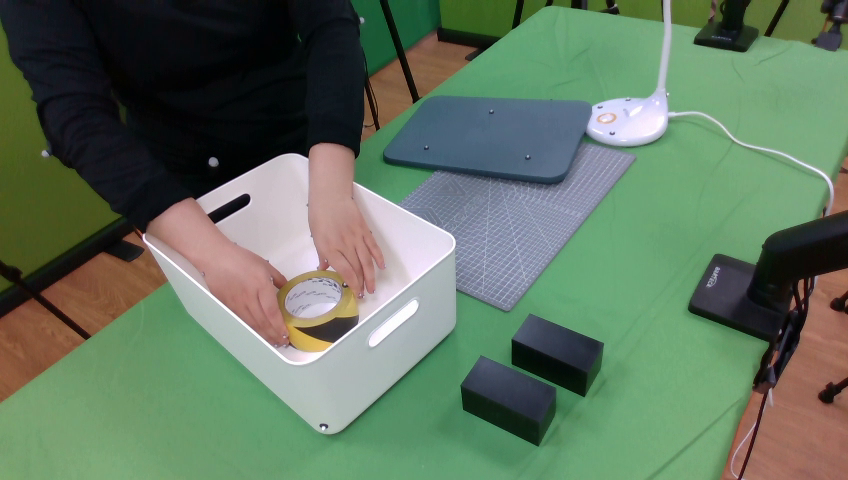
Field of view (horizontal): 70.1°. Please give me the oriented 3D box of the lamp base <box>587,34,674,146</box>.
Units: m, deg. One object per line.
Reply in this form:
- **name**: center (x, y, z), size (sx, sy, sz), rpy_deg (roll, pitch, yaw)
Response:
- **lamp base**: center (0.392, -0.291, 1.129), size (0.180, 0.181, 0.159), rpy_deg (-11, 41, -8)

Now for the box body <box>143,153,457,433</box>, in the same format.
- **box body**: center (-0.158, 0.054, 0.820), size (0.361, 0.161, 0.255), rpy_deg (29, 52, 34)

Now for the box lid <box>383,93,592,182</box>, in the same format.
- **box lid**: center (0.128, -0.211, 1.193), size (0.369, 0.015, 0.263), rpy_deg (9, 45, 22)

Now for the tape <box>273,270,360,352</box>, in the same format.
- **tape**: center (-0.148, 0.098, 0.846), size (0.117, 0.053, 0.116), rpy_deg (-6, 40, 6)
